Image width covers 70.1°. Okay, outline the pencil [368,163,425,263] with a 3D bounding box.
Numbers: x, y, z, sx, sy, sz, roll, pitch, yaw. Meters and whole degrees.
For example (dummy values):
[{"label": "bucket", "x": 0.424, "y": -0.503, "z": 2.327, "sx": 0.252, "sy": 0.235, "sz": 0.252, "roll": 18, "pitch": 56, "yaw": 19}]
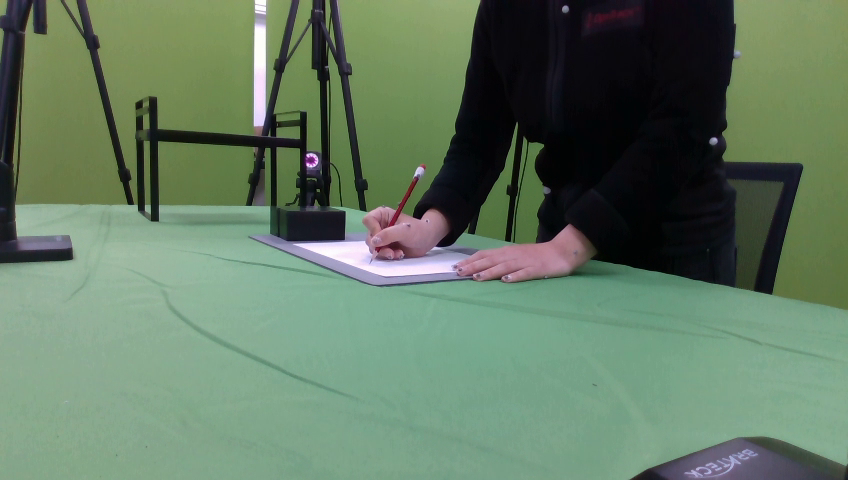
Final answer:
[{"label": "pencil", "x": -0.038, "y": -0.042, "z": 0.854, "sx": 0.012, "sy": 0.012, "sz": 0.194, "roll": 7, "pitch": 51, "yaw": 27}]
